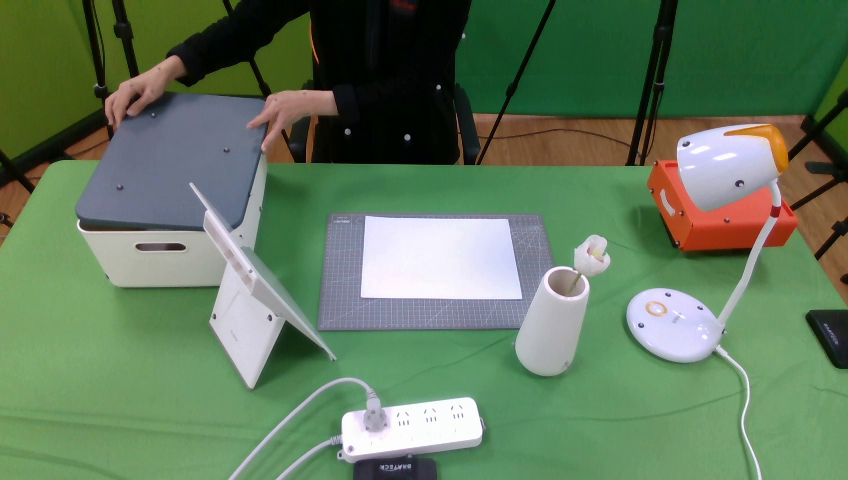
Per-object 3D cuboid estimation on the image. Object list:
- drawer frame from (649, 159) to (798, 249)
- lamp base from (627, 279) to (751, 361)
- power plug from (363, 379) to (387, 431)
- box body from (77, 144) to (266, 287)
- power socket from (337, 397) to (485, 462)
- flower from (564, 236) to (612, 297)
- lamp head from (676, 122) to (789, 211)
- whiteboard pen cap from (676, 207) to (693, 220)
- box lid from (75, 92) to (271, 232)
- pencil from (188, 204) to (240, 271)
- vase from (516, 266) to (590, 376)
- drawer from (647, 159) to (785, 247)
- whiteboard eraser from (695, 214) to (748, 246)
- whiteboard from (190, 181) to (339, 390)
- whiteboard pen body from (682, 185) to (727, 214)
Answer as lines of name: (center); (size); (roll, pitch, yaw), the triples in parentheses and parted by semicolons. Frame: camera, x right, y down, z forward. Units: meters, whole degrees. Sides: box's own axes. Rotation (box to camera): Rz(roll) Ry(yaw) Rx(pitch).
drawer frame: (0.588, -0.077, 1.219); (0.214, 0.083, 0.200); (-2, 45, -5)
lamp base: (0.459, 0.100, 1.027); (0.178, 0.181, 0.160); (27, 51, 17)
power plug: (-0.072, 0.252, 0.910); (0.035, 0.053, 0.072); (3, 45, -1)
box body: (-0.447, -0.088, 1.150); (0.254, 0.161, 0.361); (-1, 46, -5)
power socket: (-0.018, 0.285, 0.915); (0.227, 0.033, 0.071); (-5, 46, -8)
flower: (0.206, 0.088, 0.893); (0.038, 0.363, 0.044); (-17, 67, -10)
lamp head: (0.423, -0.104, 0.819); (0.122, 0.113, 0.112); (-13, 33, 40)
whiteboard pen cap: (0.524, -0.053, 1.216); (0.033, 0.018, 0.018); (-28, 54, -23)
box lid: (-0.432, -0.152, 1.089); (0.263, 0.015, 0.369); (3, 46, -6)
pencil: (-0.403, -0.010, 1.176); (0.012, 0.012, 0.193); (14, 45, 8)
vase: (0.208, 0.132, 0.964); (0.098, 0.201, 0.097); (3, 46, -3)
drawer: (0.582, -0.079, 1.214); (0.212, 0.073, 0.193); (-1, 46, -5)
whiteboard eraser: (0.592, -0.018, 1.209); (0.113, 0.042, 0.055); (12, 27, -36)
whiteboard: (-0.292, 0.096, 0.929); (0.144, 0.307, 0.216); (-37, 57, -10)
whiteboard pen body: (0.572, -0.081, 1.237); (0.141, 0.017, 0.017); (-26, 54, -25)
